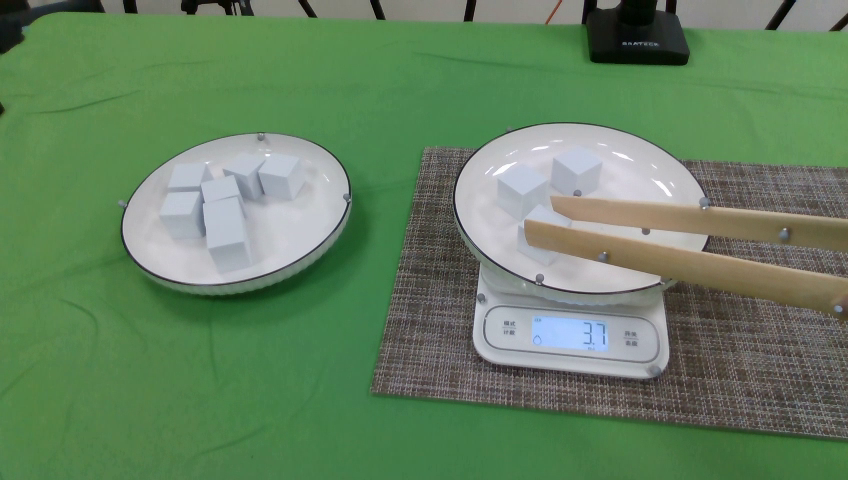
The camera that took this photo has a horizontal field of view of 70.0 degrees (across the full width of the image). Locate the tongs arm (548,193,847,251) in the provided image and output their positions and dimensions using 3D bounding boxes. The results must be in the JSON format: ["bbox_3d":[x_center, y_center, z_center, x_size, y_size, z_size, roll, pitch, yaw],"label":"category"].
[{"bbox_3d":[0.241,0.006,0.362,0.382,0.027,0.050,8,40,37],"label":"tongs arm"}]

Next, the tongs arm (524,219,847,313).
[{"bbox_3d":[0.225,0.022,0.348,0.384,0.028,0.028,11,39,39],"label":"tongs arm"}]

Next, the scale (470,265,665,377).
[{"bbox_3d":[0.121,0.019,0.516,0.148,0.032,0.199,4,48,7],"label":"scale"}]

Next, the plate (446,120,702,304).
[{"bbox_3d":[0.123,-0.025,0.512,0.208,0.039,0.205,0,47,1],"label":"plate"}]

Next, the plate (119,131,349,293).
[{"bbox_3d":[-0.173,-0.027,0.573,0.209,0.038,0.207,-1,46,1],"label":"plate"}]
